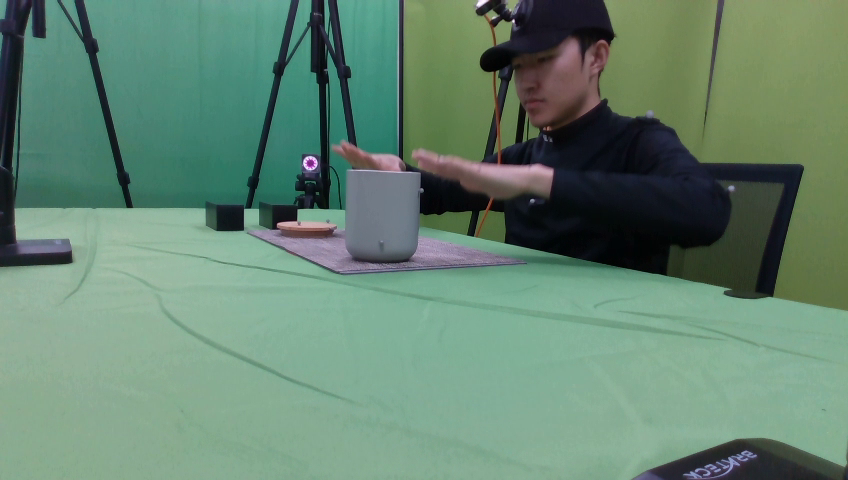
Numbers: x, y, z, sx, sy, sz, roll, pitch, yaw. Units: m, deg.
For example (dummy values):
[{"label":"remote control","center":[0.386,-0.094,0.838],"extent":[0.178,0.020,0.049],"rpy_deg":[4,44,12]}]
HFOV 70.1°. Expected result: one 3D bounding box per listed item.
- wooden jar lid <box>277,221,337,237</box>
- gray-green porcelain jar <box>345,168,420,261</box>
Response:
[{"label":"wooden jar lid","center":[-0.215,-0.021,1.112],"extent":[0.108,0.020,0.108],"rpy_deg":[3,7,0]},{"label":"gray-green porcelain jar","center":[-0.059,-0.037,0.858],"extent":[0.106,0.126,0.106],"rpy_deg":[2,7,0]}]
